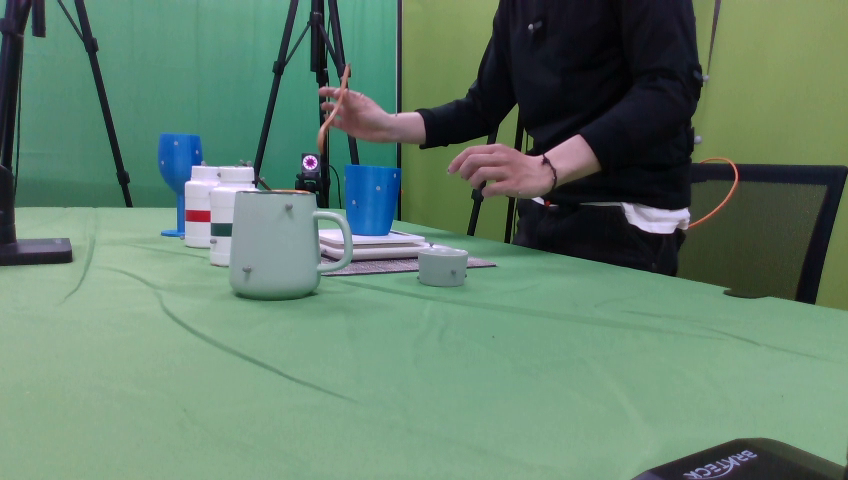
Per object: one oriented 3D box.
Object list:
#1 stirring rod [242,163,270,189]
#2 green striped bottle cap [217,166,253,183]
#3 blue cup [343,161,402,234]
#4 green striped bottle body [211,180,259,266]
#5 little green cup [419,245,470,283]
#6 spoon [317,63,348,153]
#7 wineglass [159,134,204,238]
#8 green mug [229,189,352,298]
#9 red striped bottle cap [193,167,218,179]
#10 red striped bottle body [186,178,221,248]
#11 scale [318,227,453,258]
[{"bbox_3d":[-0.298,-0.091,1.198,0.014,0.006,0.177,10,-31,45],"label":"stirring rod"},{"bbox_3d":[-0.242,-0.085,0.777,0.044,0.020,0.044,2,9,0],"label":"green striped bottle cap"},{"bbox_3d":[-0.078,-0.062,0.884,0.093,0.100,0.092,4,6,0],"label":"blue cup"},{"bbox_3d":[-0.243,-0.029,0.784,0.063,0.119,0.063,2,7,0],"label":"green striped bottle body"},{"bbox_3d":[0.023,0.028,0.713,0.061,0.038,0.061,2,6,0],"label":"little green cup"},{"bbox_3d":[-0.171,-0.253,1.151,0.021,0.193,0.041,17,-18,-1],"label":"spoon"},{"bbox_3d":[-0.415,-0.093,1.040,0.074,0.172,0.073,2,7,0],"label":"wineglass"},{"bbox_3d":[-0.135,0.002,0.618,0.125,0.105,0.092,2,7,4],"label":"green mug"},{"bbox_3d":[-0.329,-0.103,0.921,0.044,0.017,0.044,-1,9,0],"label":"red striped bottle cap"},{"bbox_3d":[-0.331,-0.050,0.927,0.063,0.119,0.063,2,6,0],"label":"red striped bottle body"},{"bbox_3d":[-0.067,0.001,0.906,0.202,0.031,0.148,-2,8,-31],"label":"scale"}]
